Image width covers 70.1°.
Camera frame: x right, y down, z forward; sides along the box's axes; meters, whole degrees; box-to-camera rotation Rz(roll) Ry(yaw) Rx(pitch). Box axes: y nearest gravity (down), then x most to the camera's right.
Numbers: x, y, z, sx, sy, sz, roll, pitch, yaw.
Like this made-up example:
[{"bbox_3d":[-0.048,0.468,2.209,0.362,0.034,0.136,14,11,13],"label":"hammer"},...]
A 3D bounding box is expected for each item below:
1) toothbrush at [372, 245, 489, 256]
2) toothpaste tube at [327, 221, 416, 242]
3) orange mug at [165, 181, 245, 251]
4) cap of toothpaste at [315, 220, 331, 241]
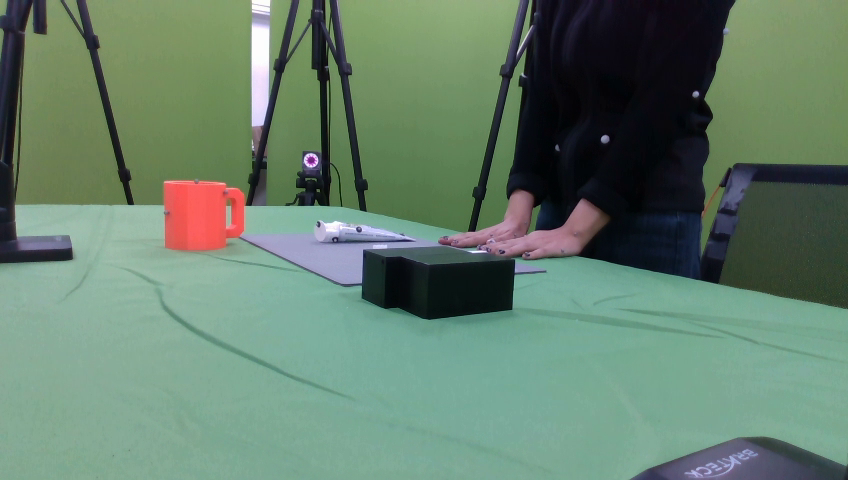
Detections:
[{"bbox_3d":[0.012,0.016,0.875,0.183,0.016,0.014,1,-7,-22],"label":"toothbrush"},{"bbox_3d":[-0.094,-0.012,1.026,0.166,0.034,0.055,2,13,-33],"label":"toothpaste tube"},{"bbox_3d":[-0.326,-0.040,0.911,0.083,0.101,0.127,8,14,37],"label":"orange mug"},{"bbox_3d":[-0.164,-0.015,0.982,0.011,0.037,0.037,-9,12,-43],"label":"cap of toothpaste"}]
